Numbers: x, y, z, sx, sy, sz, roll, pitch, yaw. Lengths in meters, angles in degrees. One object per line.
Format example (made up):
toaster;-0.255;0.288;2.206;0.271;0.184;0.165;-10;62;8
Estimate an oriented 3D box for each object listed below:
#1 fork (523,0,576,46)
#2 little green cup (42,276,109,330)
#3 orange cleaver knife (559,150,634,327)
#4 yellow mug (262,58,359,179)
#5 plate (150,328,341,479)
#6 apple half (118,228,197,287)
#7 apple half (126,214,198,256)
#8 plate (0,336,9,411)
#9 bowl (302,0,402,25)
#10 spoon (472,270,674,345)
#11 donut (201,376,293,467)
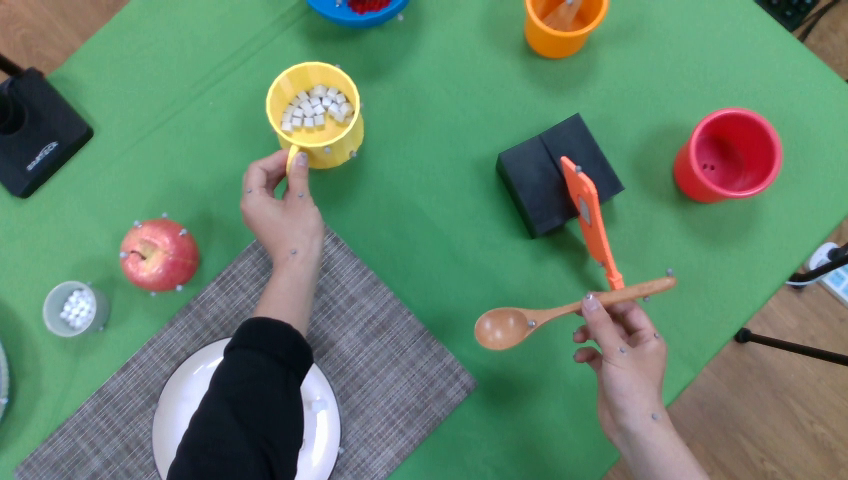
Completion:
fork;0.186;-0.293;0.664;0.207;0.018;0.028;-42;79;40
little green cup;-0.397;0.073;0.694;0.061;0.039;0.061;0;83;2
orange cleaver knife;0.187;0.001;0.661;0.012;0.076;0.213;-25;115;0
yellow mug;-0.129;-0.128;0.672;0.100;0.064;0.130;19;77;1
plate;-0.193;0.201;0.670;0.209;0.038;0.208;0;84;2
apple half;-0.303;0.025;0.680;0.081;0.074;0.053;25;89;1
apple half;-0.287;-0.011;0.683;0.081;0.081;0.033;25;88;5
plate;-0.571;0.159;0.690;0.207;0.039;0.207;0;84;2
bowl;-0.080;-0.313;0.710;0.151;0.077;0.151;0;84;2
spoon;0.139;0.061;0.576;0.193;0.022;0.041;-18;68;19
donut;-0.192;0.198;0.659;0.099;0.048;0.099;0;86;1
